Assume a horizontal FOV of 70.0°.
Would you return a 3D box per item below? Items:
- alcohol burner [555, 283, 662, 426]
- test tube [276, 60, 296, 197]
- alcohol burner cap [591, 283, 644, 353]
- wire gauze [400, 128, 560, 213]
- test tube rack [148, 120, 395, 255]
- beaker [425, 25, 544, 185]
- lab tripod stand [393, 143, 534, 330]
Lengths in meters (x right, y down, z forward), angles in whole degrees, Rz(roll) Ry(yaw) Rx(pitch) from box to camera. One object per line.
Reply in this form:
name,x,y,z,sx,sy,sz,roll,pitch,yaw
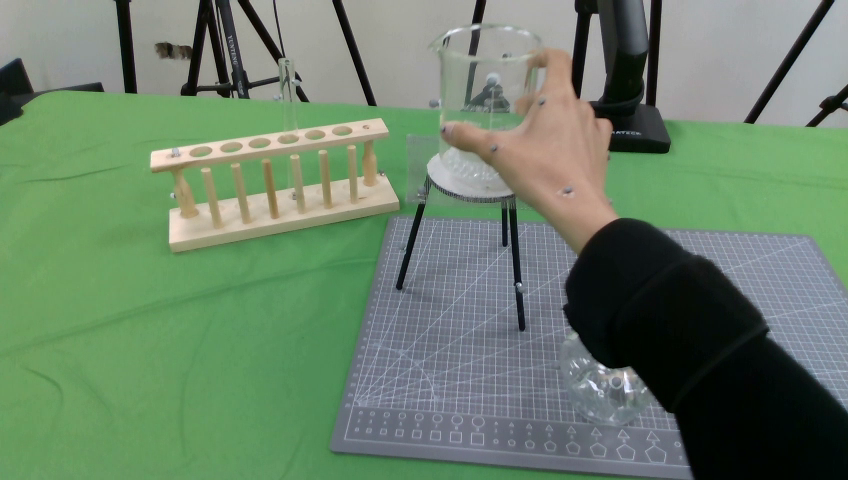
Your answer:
alcohol burner,0.137,0.080,0.443,0.078,0.120,0.077,1,36,0
test tube,-0.145,-0.113,0.640,0.017,0.151,0.017,4,32,-2
alcohol burner cap,0.135,0.051,0.421,0.034,0.048,0.033,-1,39,1
wire gauze,0.041,-0.059,0.497,0.125,0.011,0.120,-1,37,1
test tube rack,-0.158,-0.060,0.652,0.243,0.086,0.066,-12,39,-14
beaker,0.042,-0.099,0.453,0.084,0.101,0.073,5,37,6
lab tripod stand,0.042,-0.007,0.538,0.148,0.132,0.147,-1,40,1
